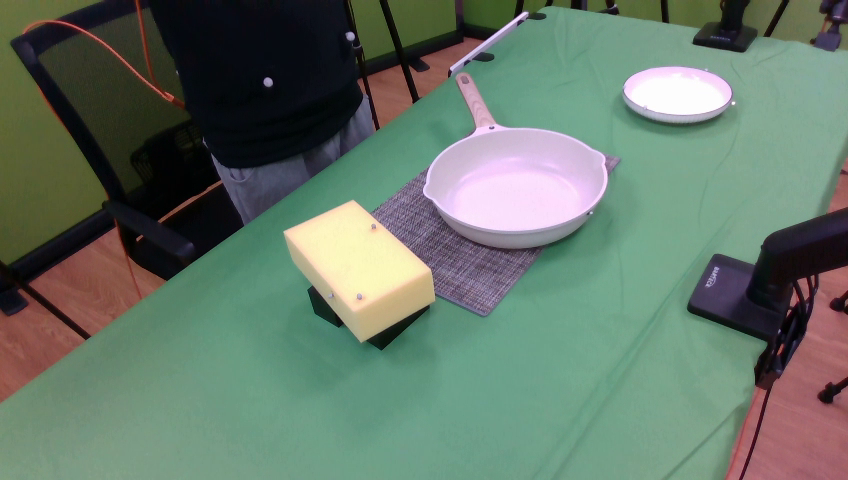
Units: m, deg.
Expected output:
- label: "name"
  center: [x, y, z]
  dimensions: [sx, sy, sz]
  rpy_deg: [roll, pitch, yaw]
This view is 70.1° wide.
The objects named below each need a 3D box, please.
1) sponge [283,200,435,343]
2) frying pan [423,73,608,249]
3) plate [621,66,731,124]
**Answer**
- label: "sponge"
  center: [-0.093, 0.036, 0.835]
  dimensions: [0.119, 0.061, 0.205]
  rpy_deg: [-29, 45, -23]
- label: "frying pan"
  center: [0.129, -0.160, 1.069]
  dimensions: [0.307, 0.103, 0.484]
  rpy_deg: [-11, 49, -6]
- label: "plate"
  center: [0.504, -0.288, 1.221]
  dimensions: [0.207, 0.039, 0.206]
  rpy_deg: [-4, 41, 4]
